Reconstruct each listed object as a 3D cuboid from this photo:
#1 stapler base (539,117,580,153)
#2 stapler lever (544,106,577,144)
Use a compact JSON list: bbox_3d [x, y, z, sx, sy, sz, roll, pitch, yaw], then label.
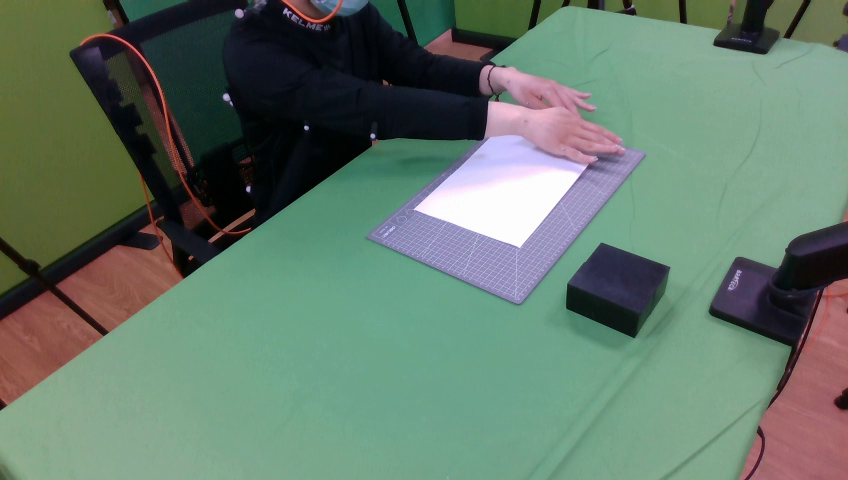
[{"bbox_3d":[0.265,-0.213,1.174,0.041,0.024,0.131,20,46,23],"label":"stapler base"},{"bbox_3d":[0.263,-0.228,1.163,0.026,0.040,0.118,19,52,23],"label":"stapler lever"}]
